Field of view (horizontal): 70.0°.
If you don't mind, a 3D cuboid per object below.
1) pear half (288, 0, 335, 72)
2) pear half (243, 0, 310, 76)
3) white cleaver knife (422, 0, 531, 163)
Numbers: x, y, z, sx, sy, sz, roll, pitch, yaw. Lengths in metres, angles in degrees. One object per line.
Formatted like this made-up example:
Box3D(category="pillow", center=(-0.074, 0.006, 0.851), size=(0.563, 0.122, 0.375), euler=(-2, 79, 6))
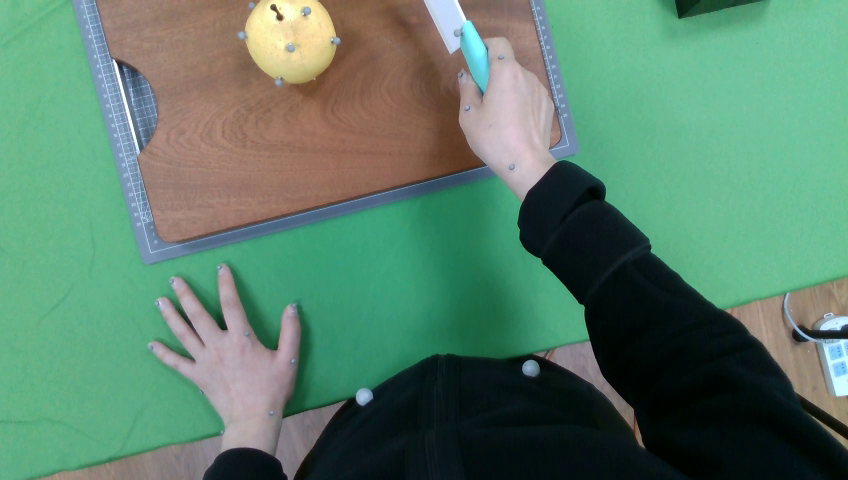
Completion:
Box3D(category="pear half", center=(-0.096, -0.189, 0.533), size=(0.031, 0.088, 0.070), euler=(-12, 86, -2))
Box3D(category="pear half", center=(-0.130, -0.183, 0.522), size=(0.056, 0.110, 0.076), euler=(-12, 87, -1))
Box3D(category="white cleaver knife", center=(0.022, -0.199, 0.529), size=(0.021, 0.065, 0.287), euler=(-29, 101, -15))
